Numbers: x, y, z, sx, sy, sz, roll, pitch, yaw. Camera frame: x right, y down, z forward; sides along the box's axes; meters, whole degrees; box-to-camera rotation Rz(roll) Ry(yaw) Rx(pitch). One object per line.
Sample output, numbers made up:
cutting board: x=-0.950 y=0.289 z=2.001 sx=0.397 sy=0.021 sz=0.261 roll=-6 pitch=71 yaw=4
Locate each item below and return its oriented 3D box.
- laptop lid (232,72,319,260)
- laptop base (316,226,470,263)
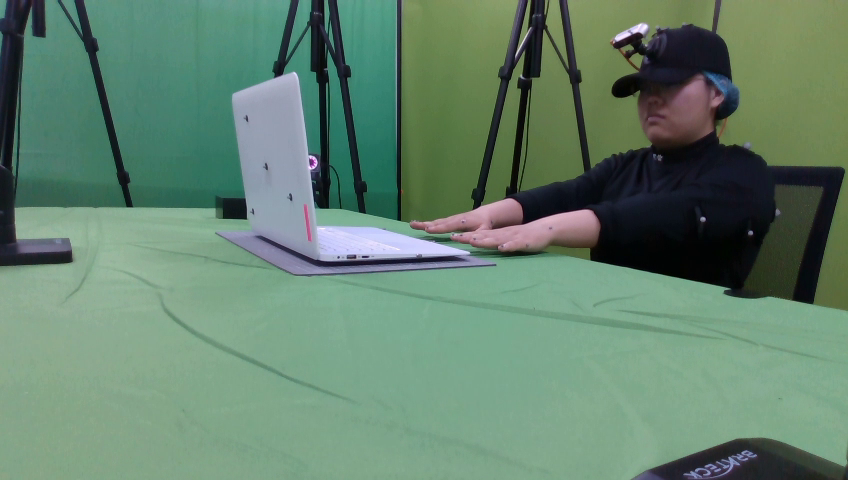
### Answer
laptop lid: x=-0.229 y=-0.109 z=0.888 sx=0.013 sy=0.241 sz=0.355 roll=-10 pitch=14 yaw=-28
laptop base: x=-0.116 y=0.005 z=0.971 sx=0.237 sy=0.023 sz=0.352 roll=2 pitch=6 yaw=-30
